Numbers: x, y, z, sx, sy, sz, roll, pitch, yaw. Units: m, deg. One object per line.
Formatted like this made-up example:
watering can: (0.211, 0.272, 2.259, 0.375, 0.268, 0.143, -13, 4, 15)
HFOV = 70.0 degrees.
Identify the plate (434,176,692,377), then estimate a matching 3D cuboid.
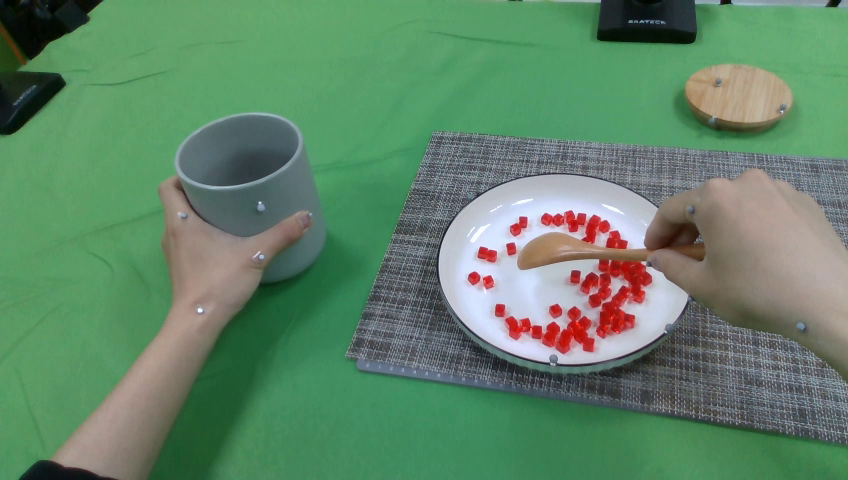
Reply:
plate: (0.113, 0.028, 0.514, 0.207, 0.039, 0.205, -4, 48, 5)

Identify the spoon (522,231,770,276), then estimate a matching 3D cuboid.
spoon: (0.145, 0.013, 0.436, 0.192, 0.022, 0.041, 4, 60, 46)

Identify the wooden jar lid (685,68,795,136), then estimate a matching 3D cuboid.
wooden jar lid: (0.341, -0.149, 0.659, 0.108, 0.021, 0.107, -4, 49, 5)

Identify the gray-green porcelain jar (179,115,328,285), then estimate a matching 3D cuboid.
gray-green porcelain jar: (-0.146, -0.031, 0.546, 0.106, 0.128, 0.105, -2, 46, 2)
